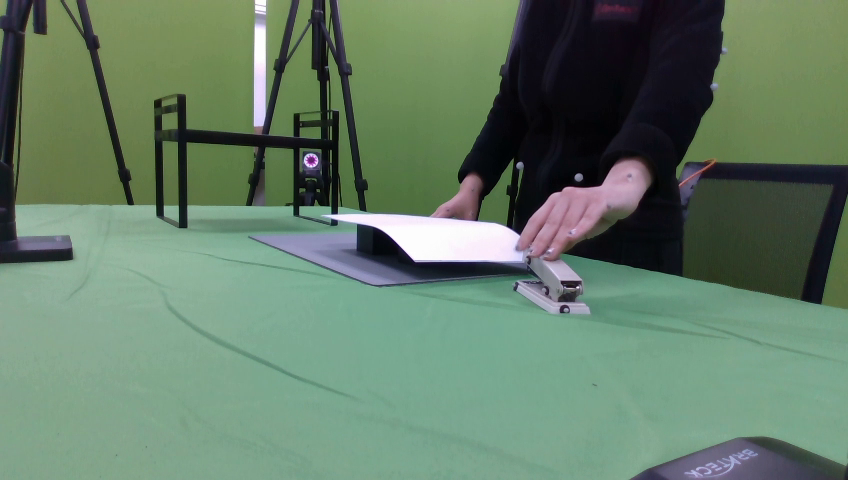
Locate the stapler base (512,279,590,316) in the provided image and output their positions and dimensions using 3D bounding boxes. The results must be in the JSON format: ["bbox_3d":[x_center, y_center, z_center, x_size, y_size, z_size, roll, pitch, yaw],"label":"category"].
[{"bbox_3d":[0.130,0.053,0.639,0.041,0.024,0.130,0,9,-10],"label":"stapler base"}]

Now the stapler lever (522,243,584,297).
[{"bbox_3d":[0.132,0.030,0.634,0.027,0.040,0.118,0,8,-10],"label":"stapler lever"}]
